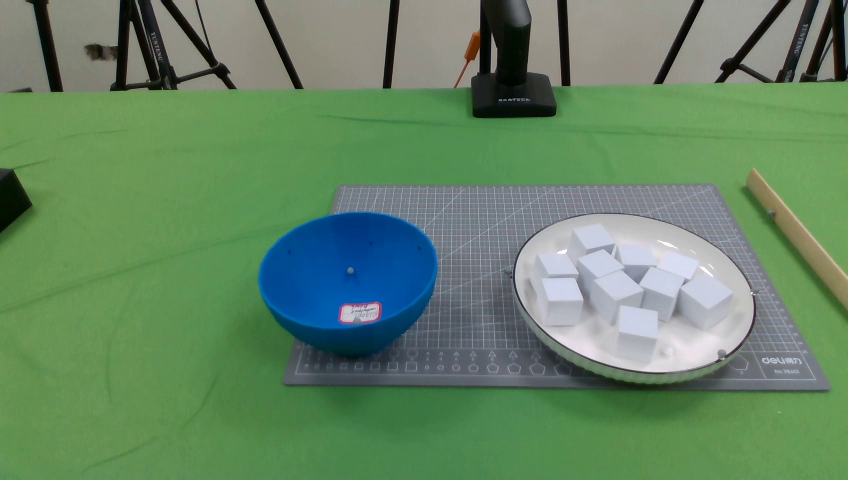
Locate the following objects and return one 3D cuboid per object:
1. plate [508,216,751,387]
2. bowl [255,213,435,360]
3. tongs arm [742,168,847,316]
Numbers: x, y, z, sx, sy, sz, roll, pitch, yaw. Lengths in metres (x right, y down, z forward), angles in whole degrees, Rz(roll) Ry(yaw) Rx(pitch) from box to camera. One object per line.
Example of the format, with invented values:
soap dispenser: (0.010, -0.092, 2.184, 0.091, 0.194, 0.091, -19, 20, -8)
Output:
plate: (0.180, 0.054, 0.550, 0.208, 0.039, 0.205, -1, 39, 1)
bowl: (-0.064, 0.051, 0.530, 0.151, 0.077, 0.150, -1, 39, 1)
tongs arm: (0.396, 0.045, 0.563, 0.028, 0.028, 0.383, -2, 39, -5)
